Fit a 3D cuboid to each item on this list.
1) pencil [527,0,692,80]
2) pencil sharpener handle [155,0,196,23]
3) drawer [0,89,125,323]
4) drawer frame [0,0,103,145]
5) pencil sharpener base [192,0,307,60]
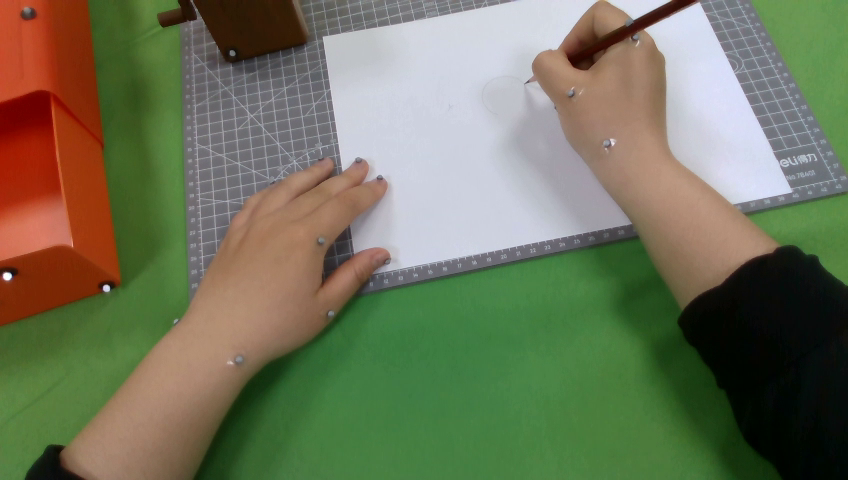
[{"bbox_3d":[0.119,-0.127,0.367,0.012,0.193,0.012,2,85,-25],"label":"pencil"},{"bbox_3d":[-0.189,-0.184,0.432,0.030,0.068,0.035,-17,64,-2],"label":"pencil sharpener handle"},{"bbox_3d":[-0.326,-0.040,0.411,0.194,0.074,0.210,-19,66,-4],"label":"drawer"},{"bbox_3d":[-0.365,-0.141,0.455,0.202,0.083,0.211,-19,66,-4],"label":"drawer frame"},{"bbox_3d":[-0.139,-0.195,0.446,0.077,0.108,0.061,-17,66,-2],"label":"pencil sharpener base"}]
